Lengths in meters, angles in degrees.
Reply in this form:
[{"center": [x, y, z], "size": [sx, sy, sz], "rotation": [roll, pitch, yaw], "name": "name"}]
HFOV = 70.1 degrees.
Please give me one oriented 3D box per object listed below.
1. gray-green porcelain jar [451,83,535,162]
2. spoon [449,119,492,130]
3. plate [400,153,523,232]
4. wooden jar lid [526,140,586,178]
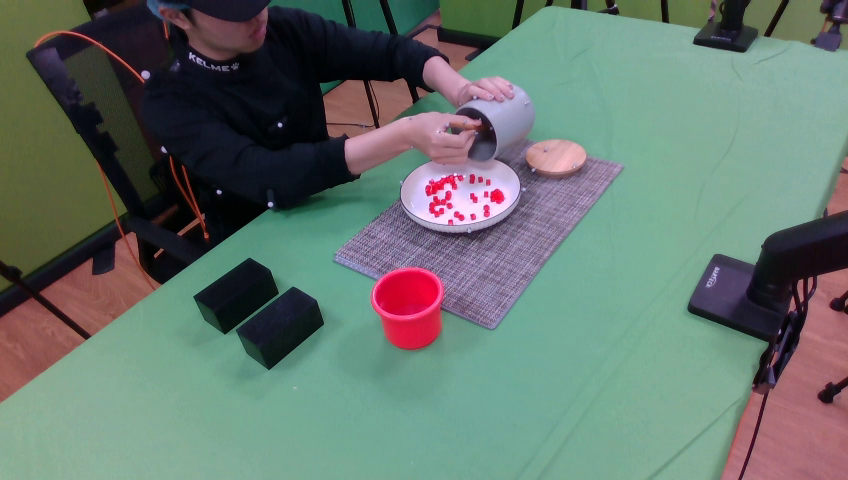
[{"center": [0.126, -0.211, 1.065], "size": [0.105, 0.106, 0.127], "rotation": [26, 48, 33], "name": "gray-green porcelain jar"}, {"center": [0.096, -0.196, 1.027], "size": [0.041, 0.021, 0.195], "rotation": [12, 19, 30], "name": "spoon"}, {"center": [0.064, -0.078, 1.034], "size": [0.207, 0.039, 0.206], "rotation": [-4, 41, 4], "name": "plate"}, {"center": [0.240, -0.147, 1.103], "size": [0.108, 0.021, 0.108], "rotation": [-4, 42, 4], "name": "wooden jar lid"}]
